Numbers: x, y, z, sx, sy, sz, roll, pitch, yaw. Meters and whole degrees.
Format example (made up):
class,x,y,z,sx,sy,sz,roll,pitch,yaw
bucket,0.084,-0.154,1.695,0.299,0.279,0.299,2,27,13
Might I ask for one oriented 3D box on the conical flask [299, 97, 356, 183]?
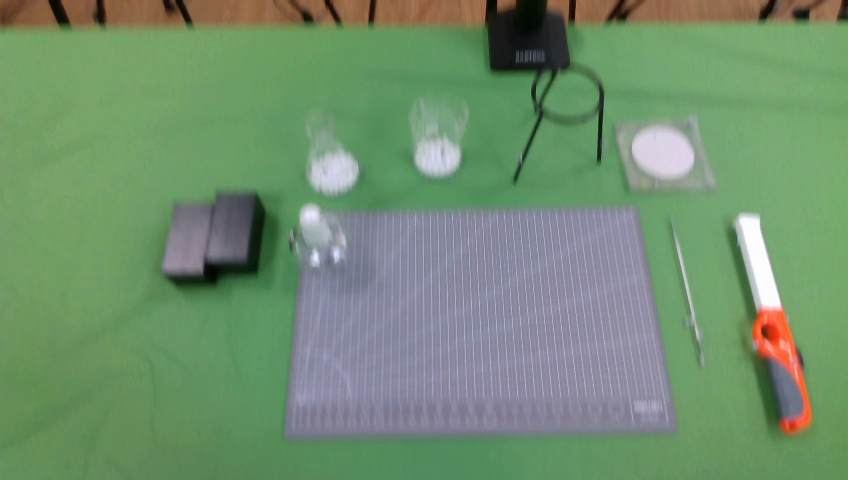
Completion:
class,x,y,z,sx,sy,sz,roll,pitch,yaw
conical flask,-0.132,-0.133,0.785,0.075,0.123,0.075,0,66,1

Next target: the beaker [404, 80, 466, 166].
class,x,y,z,sx,sy,sz,roll,pitch,yaw
beaker,0.016,-0.153,0.807,0.084,0.101,0.073,-24,68,-11

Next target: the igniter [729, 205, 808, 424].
class,x,y,z,sx,sy,sz,roll,pitch,yaw
igniter,0.419,0.083,0.741,0.057,0.025,0.274,4,66,-10

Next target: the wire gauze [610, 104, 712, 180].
class,x,y,z,sx,sy,sz,roll,pitch,yaw
wire gauze,0.333,-0.138,0.850,0.125,0.011,0.120,-2,66,-3

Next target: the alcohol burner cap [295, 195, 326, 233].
class,x,y,z,sx,sy,sz,roll,pitch,yaw
alcohol burner cap,-0.133,-0.033,0.703,0.034,0.048,0.033,1,59,-1

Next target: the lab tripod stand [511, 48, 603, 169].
class,x,y,z,sx,sy,sz,roll,pitch,yaw
lab tripod stand,0.172,-0.170,0.795,0.148,0.132,0.147,0,68,0

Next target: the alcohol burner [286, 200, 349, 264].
class,x,y,z,sx,sy,sz,roll,pitch,yaw
alcohol burner,-0.133,-0.017,0.735,0.078,0.120,0.077,-1,66,2

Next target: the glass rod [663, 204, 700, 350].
class,x,y,z,sx,sy,sz,roll,pitch,yaw
glass rod,0.326,0.042,0.769,0.008,0.008,0.198,-2,67,-1
